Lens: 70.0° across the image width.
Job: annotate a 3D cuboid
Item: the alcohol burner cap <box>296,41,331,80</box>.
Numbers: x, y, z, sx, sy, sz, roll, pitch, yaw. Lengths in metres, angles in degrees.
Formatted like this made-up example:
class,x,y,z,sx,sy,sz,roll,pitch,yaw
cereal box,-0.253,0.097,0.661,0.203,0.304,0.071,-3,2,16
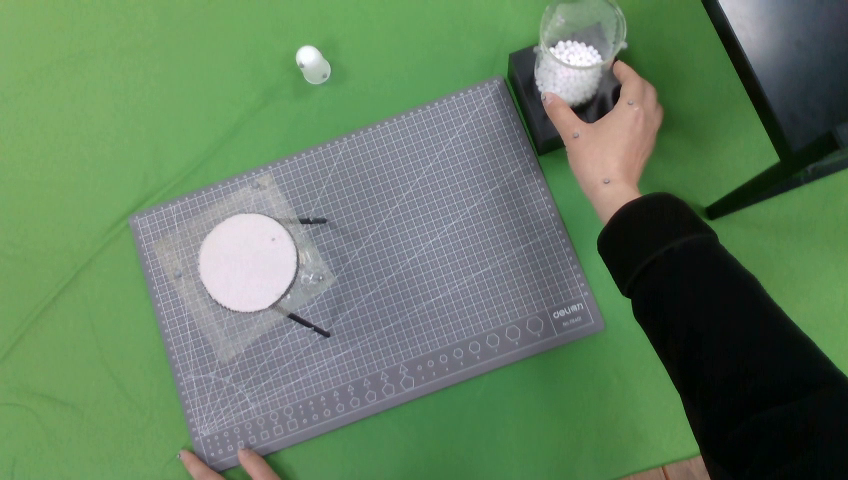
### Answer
class,x,y,z,sx,sy,sz,roll,pitch,yaw
alcohol burner cap,-0.125,-0.202,0.675,0.034,0.048,0.034,-1,83,7

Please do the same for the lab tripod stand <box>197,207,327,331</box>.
class,x,y,z,sx,sy,sz,roll,pitch,yaw
lab tripod stand,-0.148,0.027,0.595,0.148,0.132,0.148,0,82,3

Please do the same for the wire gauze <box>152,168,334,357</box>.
class,x,y,z,sx,sy,sz,roll,pitch,yaw
wire gauze,-0.158,0.017,0.530,0.121,0.011,0.124,-33,82,-2

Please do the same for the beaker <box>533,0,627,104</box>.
class,x,y,z,sx,sy,sz,roll,pitch,yaw
beaker,0.141,-0.179,0.570,0.074,0.100,0.083,-10,80,4

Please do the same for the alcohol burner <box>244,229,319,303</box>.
class,x,y,z,sx,sy,sz,roll,pitch,yaw
alcohol burner,-0.148,0.023,0.606,0.078,0.119,0.077,-1,80,6
